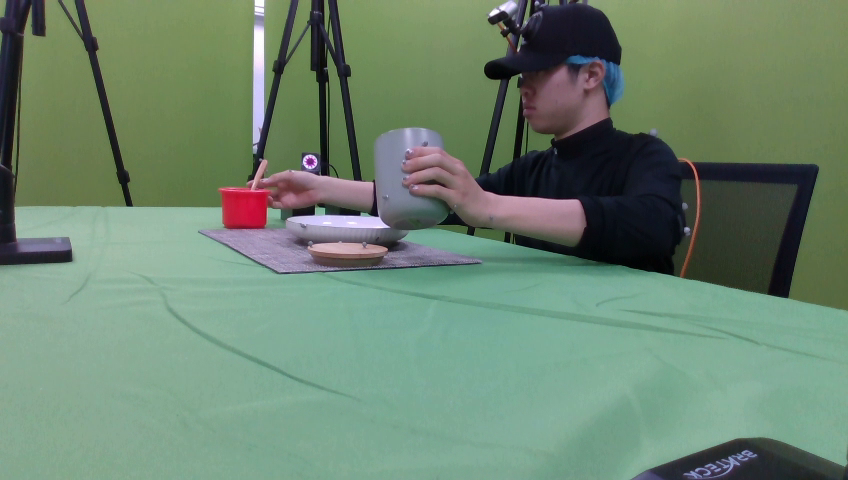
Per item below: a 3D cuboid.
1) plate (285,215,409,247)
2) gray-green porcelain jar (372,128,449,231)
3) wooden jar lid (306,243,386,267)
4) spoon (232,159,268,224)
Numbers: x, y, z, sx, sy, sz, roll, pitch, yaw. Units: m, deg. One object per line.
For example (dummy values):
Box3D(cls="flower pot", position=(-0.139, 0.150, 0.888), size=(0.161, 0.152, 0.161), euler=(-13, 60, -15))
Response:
Box3D(cls="plate", position=(-0.127, -0.015, 1.012), size=(0.208, 0.039, 0.207), euler=(3, 7, 0))
Box3D(cls="gray-green porcelain jar", position=(-0.019, -0.083, 0.877), size=(0.106, 0.126, 0.106), euler=(-5, -14, -1))
Box3D(cls="wooden jar lid", position=(-0.105, 0.020, 0.816), size=(0.108, 0.020, 0.108), euler=(1, 7, 0))
Box3D(cls="spoon", position=(-0.343, -0.101, 1.218), size=(0.041, 0.021, 0.193), euler=(4, 51, 4))
